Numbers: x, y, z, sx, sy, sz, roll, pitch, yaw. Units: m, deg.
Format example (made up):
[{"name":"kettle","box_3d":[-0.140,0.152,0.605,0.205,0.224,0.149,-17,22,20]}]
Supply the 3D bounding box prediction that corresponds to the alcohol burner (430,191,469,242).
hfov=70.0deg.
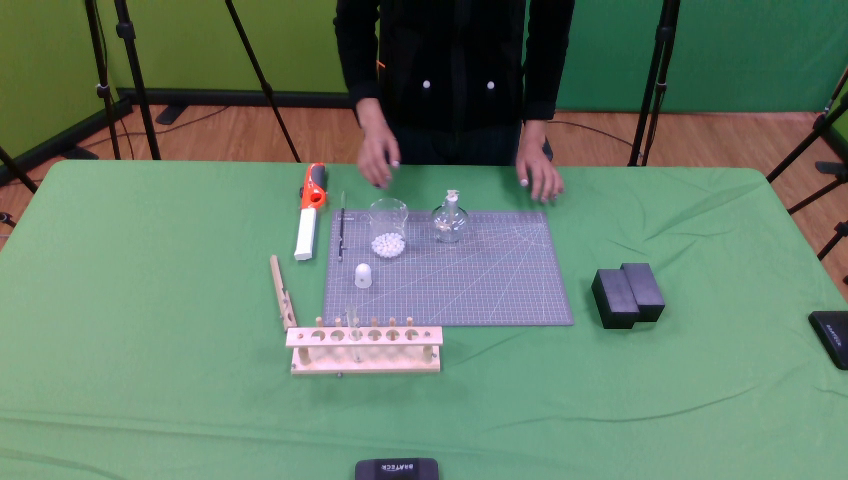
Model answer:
[{"name":"alcohol burner","box_3d":[0.051,-0.053,1.185,0.078,0.119,0.077,2,48,-2]}]

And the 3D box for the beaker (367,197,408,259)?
[{"name":"beaker","box_3d":[-0.067,-0.018,1.153,0.074,0.101,0.083,-26,54,-25]}]

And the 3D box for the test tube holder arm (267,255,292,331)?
[{"name":"test tube holder arm","box_3d":[-0.261,0.091,1.092,0.013,0.015,0.177,14,35,-39]}]

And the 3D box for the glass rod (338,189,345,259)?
[{"name":"glass rod","box_3d":[-0.166,-0.037,1.227,0.008,0.008,0.198,0,47,-4]}]

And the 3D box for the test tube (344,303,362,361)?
[{"name":"test tube","box_3d":[-0.109,0.146,0.937,0.017,0.151,0.017,0,49,0]}]

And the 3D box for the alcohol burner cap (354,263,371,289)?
[{"name":"alcohol burner cap","box_3d":[-0.113,0.063,1.111,0.034,0.048,0.033,2,45,-2]}]

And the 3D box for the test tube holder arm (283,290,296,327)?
[{"name":"test tube holder arm","box_3d":[-0.241,0.123,1.067,0.010,0.015,0.087,15,34,-38]}]

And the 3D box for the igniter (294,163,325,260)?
[{"name":"igniter","box_3d":[-0.234,-0.067,1.243,0.057,0.025,0.274,-6,46,4]}]

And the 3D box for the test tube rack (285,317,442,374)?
[{"name":"test tube rack","box_3d":[-0.095,0.166,0.988,0.242,0.085,0.066,0,46,-4]}]
